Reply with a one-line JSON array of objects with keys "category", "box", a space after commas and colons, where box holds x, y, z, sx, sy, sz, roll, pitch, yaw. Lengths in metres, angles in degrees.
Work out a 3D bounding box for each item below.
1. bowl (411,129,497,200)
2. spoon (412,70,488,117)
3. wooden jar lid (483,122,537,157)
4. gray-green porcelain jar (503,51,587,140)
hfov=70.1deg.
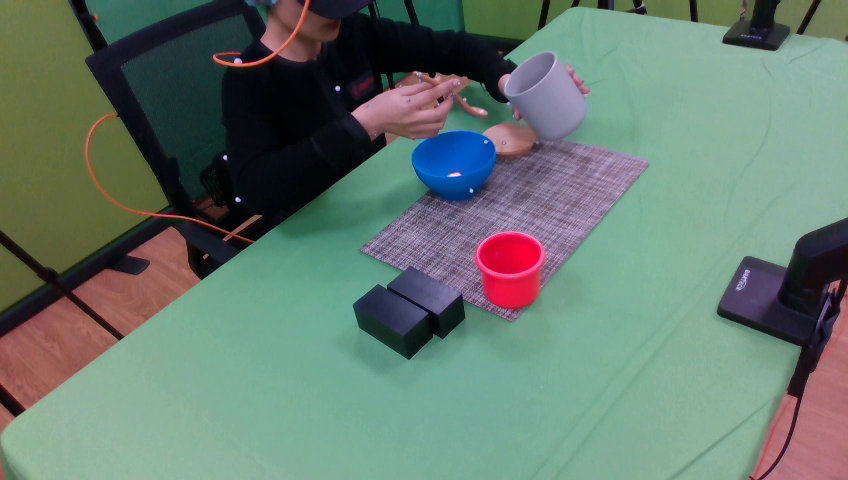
[{"category": "bowl", "box": [0.056, -0.124, 1.070, 0.151, 0.077, 0.150, -5, 40, 5]}, {"category": "spoon", "box": [0.042, -0.231, 0.957, 0.041, 0.195, 0.021, 36, 100, 37]}, {"category": "wooden jar lid", "box": [0.165, -0.195, 1.177, 0.108, 0.021, 0.108, -4, 40, 4]}, {"category": "gray-green porcelain jar", "box": [0.217, -0.247, 1.062, 0.105, 0.127, 0.105, -31, 35, 25]}]
